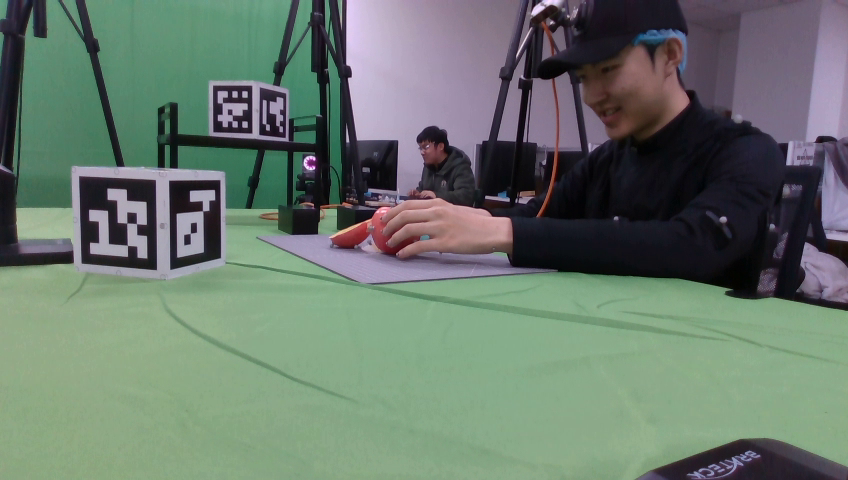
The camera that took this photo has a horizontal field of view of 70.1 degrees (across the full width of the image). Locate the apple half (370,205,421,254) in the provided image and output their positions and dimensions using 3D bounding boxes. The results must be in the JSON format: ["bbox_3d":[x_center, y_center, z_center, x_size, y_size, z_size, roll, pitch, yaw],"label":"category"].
[{"bbox_3d":[-0.036,-0.015,0.920,0.081,0.074,0.053,0,11,-44],"label":"apple half"}]

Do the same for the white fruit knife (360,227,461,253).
[{"bbox_3d":[-0.018,-0.001,0.981,0.208,0.027,0.016,-10,-15,-41],"label":"white fruit knife"}]

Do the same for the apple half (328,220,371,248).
[{"bbox_3d":[-0.111,-0.007,0.971,0.081,0.033,0.081,-17,9,3],"label":"apple half"}]
